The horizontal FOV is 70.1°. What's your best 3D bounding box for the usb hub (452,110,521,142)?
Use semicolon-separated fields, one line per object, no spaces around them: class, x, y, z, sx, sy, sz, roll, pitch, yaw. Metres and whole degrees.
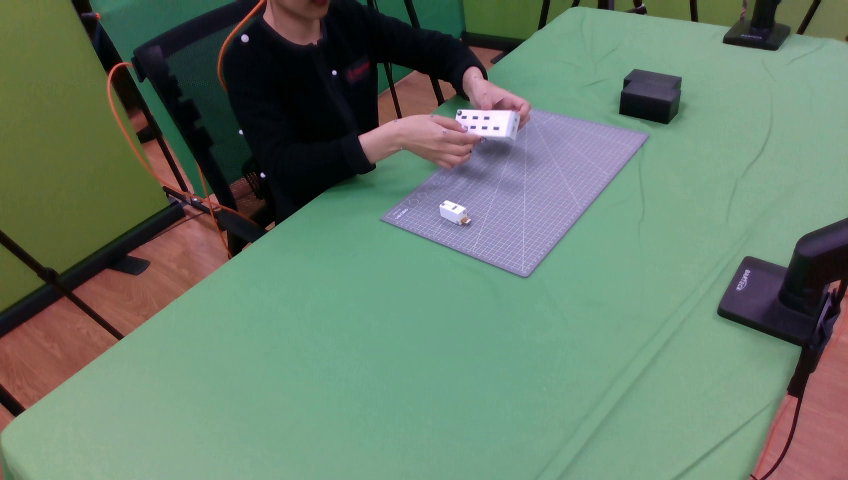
usb hub;0.113;-0.209;1.099;0.124;0.025;0.049;12;85;35

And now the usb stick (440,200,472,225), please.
usb stick;0.055;-0.044;1.016;0.058;0.027;0.021;29;51;33
